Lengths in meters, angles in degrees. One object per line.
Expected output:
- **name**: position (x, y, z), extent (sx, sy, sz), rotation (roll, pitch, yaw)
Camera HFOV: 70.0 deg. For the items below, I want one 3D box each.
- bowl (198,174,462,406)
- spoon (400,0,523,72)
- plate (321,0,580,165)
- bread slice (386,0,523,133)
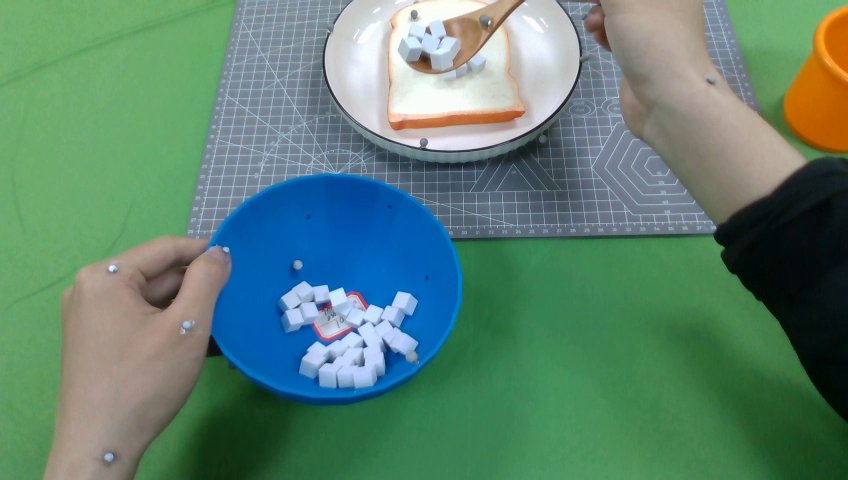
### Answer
- **bowl**: position (-0.056, 0.040, 0.381), extent (0.152, 0.077, 0.150), rotation (5, 56, -6)
- **spoon**: position (0.072, -0.160, 0.384), extent (0.194, 0.022, 0.041), rotation (-28, 61, 10)
- **plate**: position (0.020, -0.144, 0.503), extent (0.209, 0.038, 0.207), rotation (-1, 62, 3)
- **bread slice**: position (0.017, -0.147, 0.508), extent (0.107, 0.018, 0.133), rotation (-8, 63, 0)
